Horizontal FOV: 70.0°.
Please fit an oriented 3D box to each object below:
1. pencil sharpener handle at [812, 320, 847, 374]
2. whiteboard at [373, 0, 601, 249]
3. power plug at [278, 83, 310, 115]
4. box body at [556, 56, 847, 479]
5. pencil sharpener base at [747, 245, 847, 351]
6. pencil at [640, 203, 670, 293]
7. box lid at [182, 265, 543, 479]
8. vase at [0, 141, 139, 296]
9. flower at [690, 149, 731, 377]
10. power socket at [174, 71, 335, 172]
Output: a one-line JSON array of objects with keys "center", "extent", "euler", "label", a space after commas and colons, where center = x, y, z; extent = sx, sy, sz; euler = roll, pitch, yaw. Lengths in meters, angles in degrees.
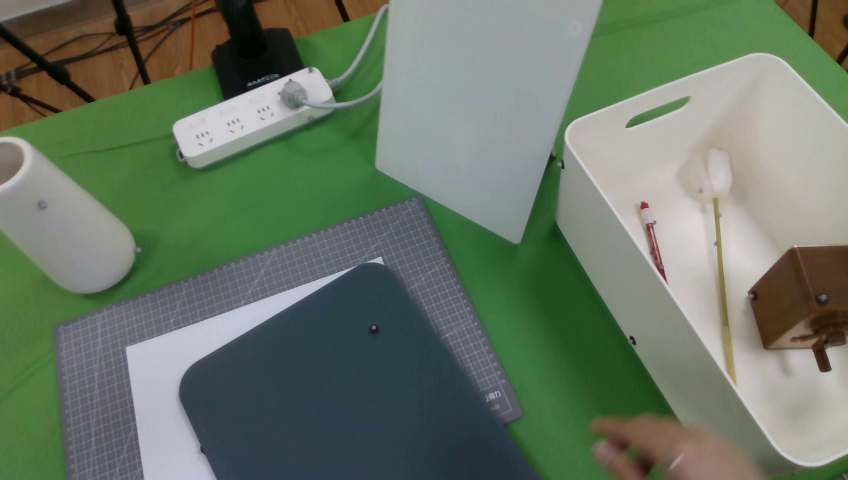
[{"center": [0.382, 0.101, 0.563], "extent": [0.036, 0.068, 0.030], "euler": [-7, 59, 12], "label": "pencil sharpener handle"}, {"center": [0.080, -0.181, 0.686], "extent": [0.216, 0.308, 0.143], "euler": [30, 47, 20], "label": "whiteboard"}, {"center": [-0.168, -0.173, 0.792], "extent": [0.035, 0.053, 0.072], "euler": [-17, 62, -5], "label": "power plug"}, {"center": [0.320, 0.024, 0.600], "extent": [0.254, 0.162, 0.360], "euler": [-22, 61, -9], "label": "box body"}, {"center": [0.379, 0.063, 0.599], "extent": [0.061, 0.108, 0.076], "euler": [-1, 60, 2], "label": "pencil sharpener base"}, {"center": [0.266, 0.043, 0.675], "extent": [0.012, 0.012, 0.192], "euler": [-4, 63, 2], "label": "pencil"}, {"center": [-0.060, 0.212, 0.604], "extent": [0.263, 0.015, 0.368], "euler": [-31, 64, -14], "label": "box lid"}, {"center": [-0.394, -0.018, 0.649], "extent": [0.098, 0.202, 0.097], "euler": [-2, 60, 4], "label": "vase"}, {"center": [0.316, 0.055, 0.651], "extent": [0.044, 0.038, 0.359], "euler": [-9, 57, 33], "label": "flower"}, {"center": [-0.226, -0.161, 0.815], "extent": [0.227, 0.033, 0.071], "euler": [-26, 63, -11], "label": "power socket"}]
